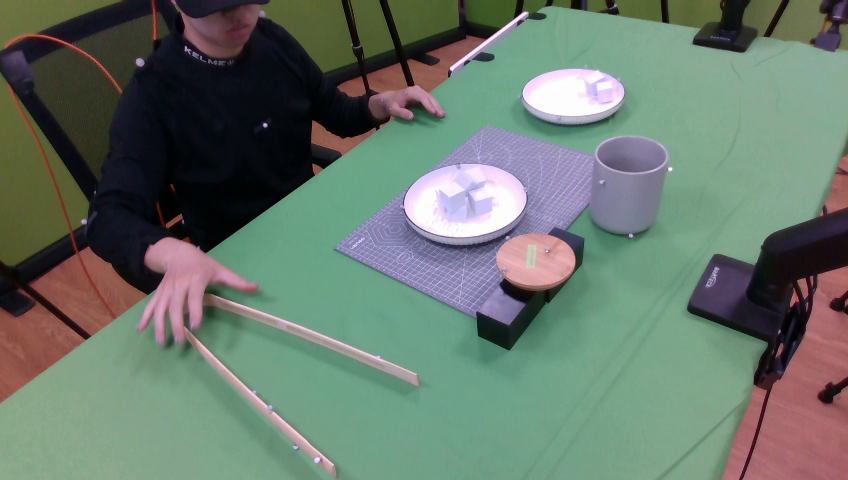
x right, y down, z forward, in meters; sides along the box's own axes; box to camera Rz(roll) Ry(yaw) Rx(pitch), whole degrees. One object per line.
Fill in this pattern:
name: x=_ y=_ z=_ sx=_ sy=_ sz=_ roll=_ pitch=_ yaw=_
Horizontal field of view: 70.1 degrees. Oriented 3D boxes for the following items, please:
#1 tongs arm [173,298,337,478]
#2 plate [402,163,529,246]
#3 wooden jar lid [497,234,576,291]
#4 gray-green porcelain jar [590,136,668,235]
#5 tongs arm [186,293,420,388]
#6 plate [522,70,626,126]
tongs arm: x=-0.226 y=0.176 z=0.785 sx=0.381 sy=0.026 sz=0.051 roll=26 pitch=49 yaw=34
plate: x=0.069 y=-0.056 z=1.008 sx=0.209 sy=0.038 sz=0.208 roll=-4 pitch=40 yaw=4
wooden jar lid: x=0.155 y=0.032 z=0.834 sx=0.108 sy=0.021 sz=0.108 roll=-5 pitch=40 yaw=5
gray-green porcelain jar: x=0.314 y=-0.080 z=0.937 sx=0.106 sy=0.127 sz=0.105 roll=-4 pitch=41 yaw=4
tongs arm: x=-0.177 y=0.134 z=0.836 sx=0.385 sy=0.028 sz=0.028 roll=15 pitch=47 yaw=24
plate: x=0.308 y=-0.289 z=1.251 sx=0.207 sy=0.039 sz=0.206 roll=-4 pitch=40 yaw=4
